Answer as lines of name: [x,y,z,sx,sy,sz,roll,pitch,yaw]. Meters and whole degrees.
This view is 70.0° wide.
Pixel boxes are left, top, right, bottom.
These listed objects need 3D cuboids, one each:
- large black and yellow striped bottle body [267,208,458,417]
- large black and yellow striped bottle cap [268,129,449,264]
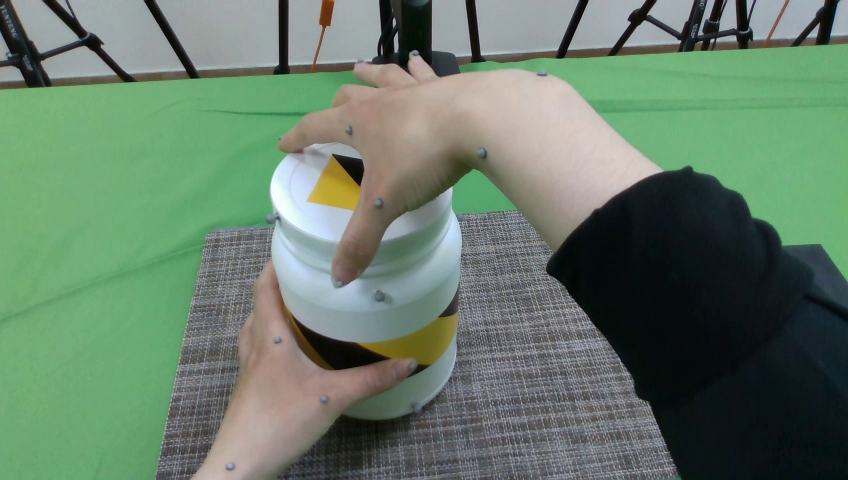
large black and yellow striped bottle body: [-0.041,0.031,0.449,0.131,0.185,0.129,0,45,0]
large black and yellow striped bottle cap: [-0.041,-0.032,0.386,0.115,0.019,0.114,1,45,-1]
